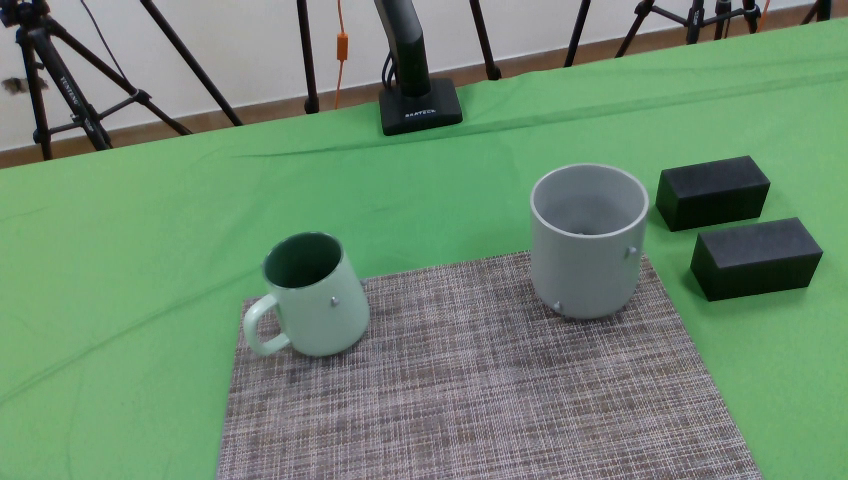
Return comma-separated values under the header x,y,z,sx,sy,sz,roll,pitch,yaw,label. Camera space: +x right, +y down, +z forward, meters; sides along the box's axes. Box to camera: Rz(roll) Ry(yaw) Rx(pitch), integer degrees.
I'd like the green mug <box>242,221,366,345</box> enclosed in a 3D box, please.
x,y,z,sx,sy,sz,roll,pitch,yaw,label
-0.122,0.054,0.601,0.091,0.106,0.125,32,59,34,green mug

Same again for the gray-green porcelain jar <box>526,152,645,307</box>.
x,y,z,sx,sy,sz,roll,pitch,yaw,label
0.154,-0.005,0.592,0.106,0.128,0.105,-5,45,6,gray-green porcelain jar
